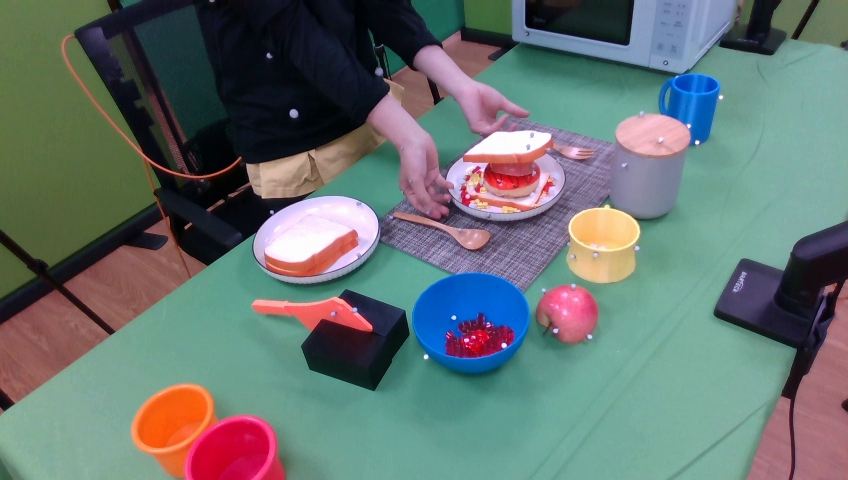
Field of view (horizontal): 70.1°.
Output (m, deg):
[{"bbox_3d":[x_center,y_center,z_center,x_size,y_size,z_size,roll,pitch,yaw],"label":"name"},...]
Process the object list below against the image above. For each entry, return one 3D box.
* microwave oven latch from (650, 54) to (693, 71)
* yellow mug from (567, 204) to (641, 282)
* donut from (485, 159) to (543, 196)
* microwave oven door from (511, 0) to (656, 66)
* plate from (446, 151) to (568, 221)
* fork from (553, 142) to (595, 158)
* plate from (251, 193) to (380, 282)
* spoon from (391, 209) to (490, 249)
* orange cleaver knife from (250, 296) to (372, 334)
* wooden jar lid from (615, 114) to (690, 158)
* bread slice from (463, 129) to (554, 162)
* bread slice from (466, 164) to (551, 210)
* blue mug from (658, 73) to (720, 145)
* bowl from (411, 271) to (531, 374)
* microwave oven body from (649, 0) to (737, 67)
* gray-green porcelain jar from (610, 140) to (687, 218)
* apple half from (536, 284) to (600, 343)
[{"bbox_3d":[0.531,-0.386,1.301,0.078,0.029,0.030,26,51,33],"label":"microwave oven latch"},{"bbox_3d":[0.268,-0.005,0.905,0.099,0.064,0.130,6,42,15],"label":"yellow mug"},{"bbox_3d":[0.151,-0.112,1.018,0.099,0.048,0.098,-4,40,4],"label":"donut"},{"bbox_3d":[0.351,-0.539,1.349,0.353,0.245,0.039,24,50,31],"label":"microwave oven door"},{"bbox_3d":[0.142,-0.097,1.045,0.207,0.039,0.206,-4,41,4],"label":"plate"},{"bbox_3d":[0.224,-0.185,1.150,0.206,0.019,0.028,19,69,27],"label":"fork"},{"bbox_3d":[-0.173,-0.001,0.984,0.209,0.038,0.208,-4,40,4],"label":"plate"},{"bbox_3d":[0.023,-0.025,0.989,0.192,0.022,0.041,21,70,28],"label":"spoon"},{"bbox_3d":[-0.159,0.103,0.828,0.210,0.078,0.012,-4,43,39],"label":"orange cleaver knife"},{"bbox_3d":[0.347,-0.155,0.923,0.108,0.021,0.108,-3,44,4],"label":"wooden jar lid"},{"bbox_3d":[0.143,-0.154,0.974,0.130,0.019,0.105,9,35,38],"label":"bread slice"},{"bbox_3d":[0.141,-0.094,1.041,0.133,0.018,0.107,8,42,20],"label":"bread slice"},{"bbox_3d":[0.483,-0.250,1.127,0.082,0.106,0.115,-25,44,-19],"label":"blue mug"},{"bbox_3d":[0.062,0.119,0.780,0.151,0.077,0.150,-4,40,4],"label":"bowl"},{"bbox_3d":[0.475,-0.602,1.411,0.438,0.261,0.327,23,50,32],"label":"microwave oven body"},{"bbox_3d":[0.354,-0.106,0.964,0.106,0.127,0.105,-4,41,4],"label":"gray-green porcelain jar"},{"bbox_3d":[0.196,0.091,0.815,0.075,0.053,0.080,-22,42,-20],"label":"apple half"}]
